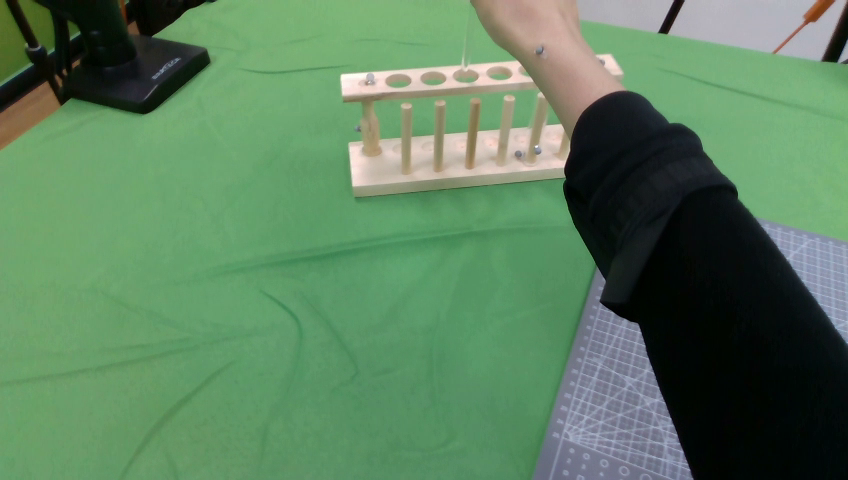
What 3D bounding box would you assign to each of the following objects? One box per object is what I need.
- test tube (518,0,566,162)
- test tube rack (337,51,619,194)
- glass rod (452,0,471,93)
[{"bbox_3d":[0.096,-0.128,0.501,0.017,0.151,0.017,2,45,-1],"label":"test tube"},{"bbox_3d":[0.050,-0.106,0.541,0.243,0.086,0.066,-6,47,-6],"label":"test tube rack"},{"bbox_3d":[0.032,-0.184,0.449,0.008,0.201,0.008,2,58,-3],"label":"glass rod"}]
